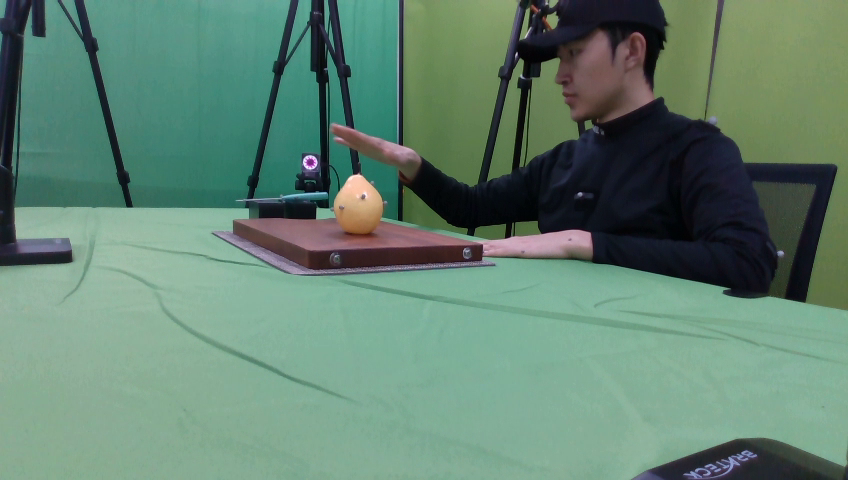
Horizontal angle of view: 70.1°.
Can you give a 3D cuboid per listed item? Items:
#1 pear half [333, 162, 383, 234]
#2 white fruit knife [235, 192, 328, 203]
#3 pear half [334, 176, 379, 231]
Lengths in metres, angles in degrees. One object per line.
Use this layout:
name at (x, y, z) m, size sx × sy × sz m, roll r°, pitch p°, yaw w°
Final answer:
pear half at (-0.098, -0.063, 0.918) m, size 0.076 × 0.110 × 0.055 m, roll -5°, pitch 10°, yaw -20°
white fruit knife at (-0.297, -0.088, 1.283) m, size 0.208 × 0.016 × 0.027 m, roll -7°, pitch 0°, yaw -32°
pear half at (-0.109, -0.058, 0.953) m, size 0.071 × 0.088 × 0.031 m, roll -8°, pitch 12°, yaw -21°
